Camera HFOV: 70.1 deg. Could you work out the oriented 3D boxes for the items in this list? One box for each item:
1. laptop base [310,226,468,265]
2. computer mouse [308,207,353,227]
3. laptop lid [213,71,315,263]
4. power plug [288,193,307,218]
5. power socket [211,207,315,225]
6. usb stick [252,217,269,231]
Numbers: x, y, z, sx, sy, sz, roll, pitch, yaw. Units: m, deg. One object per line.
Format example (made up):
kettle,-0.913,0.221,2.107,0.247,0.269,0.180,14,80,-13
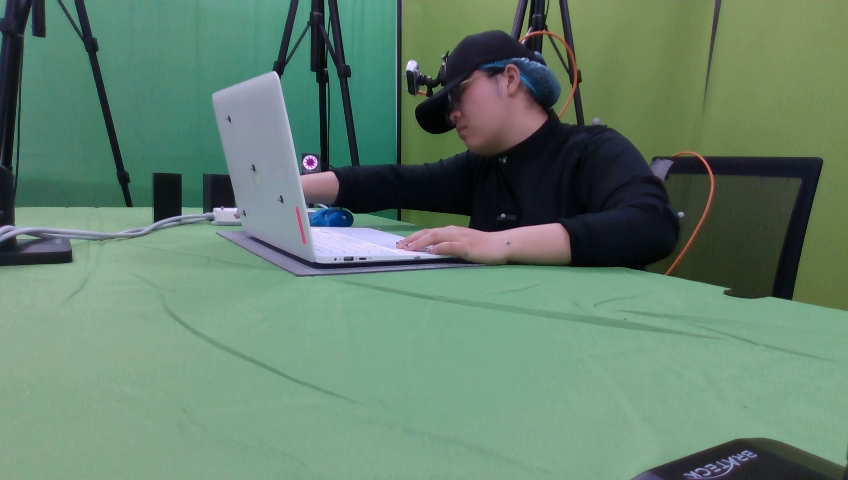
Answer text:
laptop base,-0.122,0.007,0.954,0.237,0.023,0.352,2,6,-31
computer mouse,-0.201,-0.046,1.274,0.062,0.041,0.117,8,14,24
laptop lid,-0.241,-0.104,0.865,0.013,0.241,0.355,-16,17,-28
power plug,-0.281,-0.076,1.341,0.035,0.052,0.072,2,7,-18
power socket,-0.335,-0.052,1.282,0.228,0.032,0.072,-2,9,-28
usb stick,-0.292,-0.028,1.084,0.021,0.027,0.059,0,6,-27
